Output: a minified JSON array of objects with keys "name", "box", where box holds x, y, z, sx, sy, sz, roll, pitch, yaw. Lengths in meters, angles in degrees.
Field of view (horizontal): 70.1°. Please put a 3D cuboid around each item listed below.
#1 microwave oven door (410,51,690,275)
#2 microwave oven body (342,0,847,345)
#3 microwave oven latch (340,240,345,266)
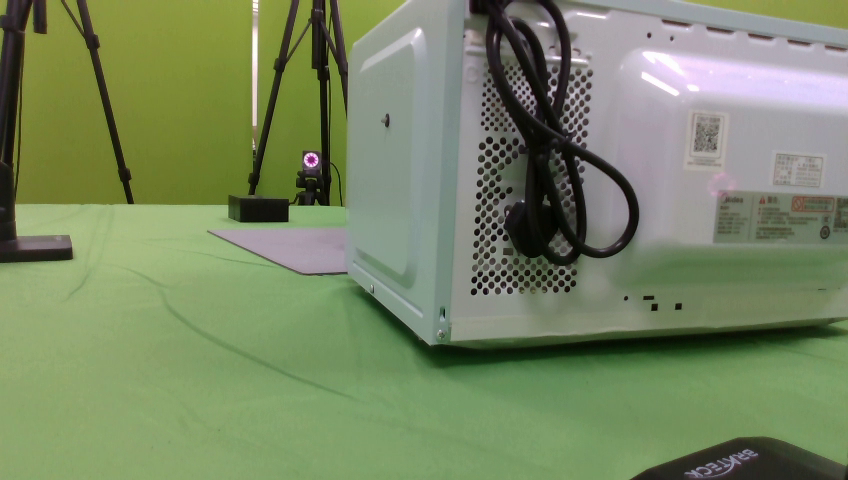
[{"name":"microwave oven door","box":[0.161,-0.084,0.723,0.357,0.243,0.039,0,8,-20]},{"name":"microwave oven body","box":[0.169,-0.060,0.573,0.444,0.260,0.324,1,7,-20]},{"name":"microwave oven latch","box":[-0.052,0.016,0.662,0.079,0.029,0.030,1,7,-19]}]
